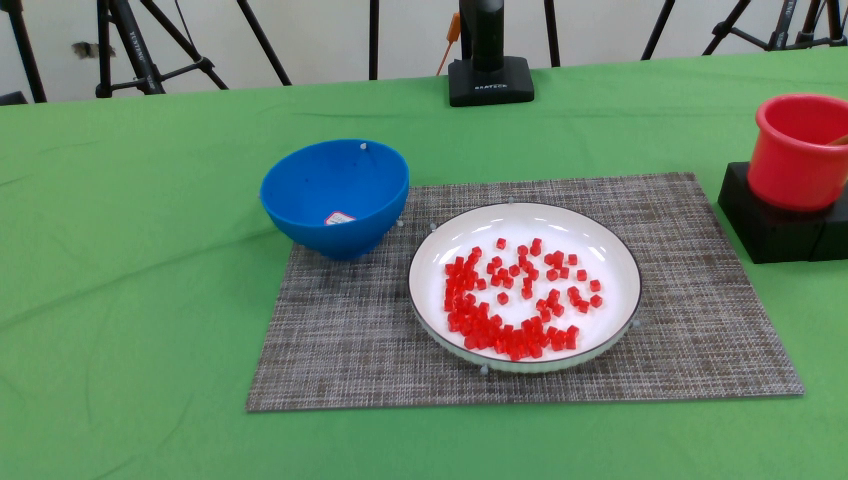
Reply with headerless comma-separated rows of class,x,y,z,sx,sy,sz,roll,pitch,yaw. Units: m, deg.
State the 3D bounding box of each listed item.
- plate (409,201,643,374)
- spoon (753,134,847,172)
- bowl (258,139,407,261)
plate,0.091,0.042,0.558,0.207,0.039,0.205,-3,41,3
spoon,0.370,-0.086,0.517,0.041,0.193,0.021,-26,91,-22
bowl,-0.088,-0.032,0.631,0.151,0.077,0.150,-3,42,3
